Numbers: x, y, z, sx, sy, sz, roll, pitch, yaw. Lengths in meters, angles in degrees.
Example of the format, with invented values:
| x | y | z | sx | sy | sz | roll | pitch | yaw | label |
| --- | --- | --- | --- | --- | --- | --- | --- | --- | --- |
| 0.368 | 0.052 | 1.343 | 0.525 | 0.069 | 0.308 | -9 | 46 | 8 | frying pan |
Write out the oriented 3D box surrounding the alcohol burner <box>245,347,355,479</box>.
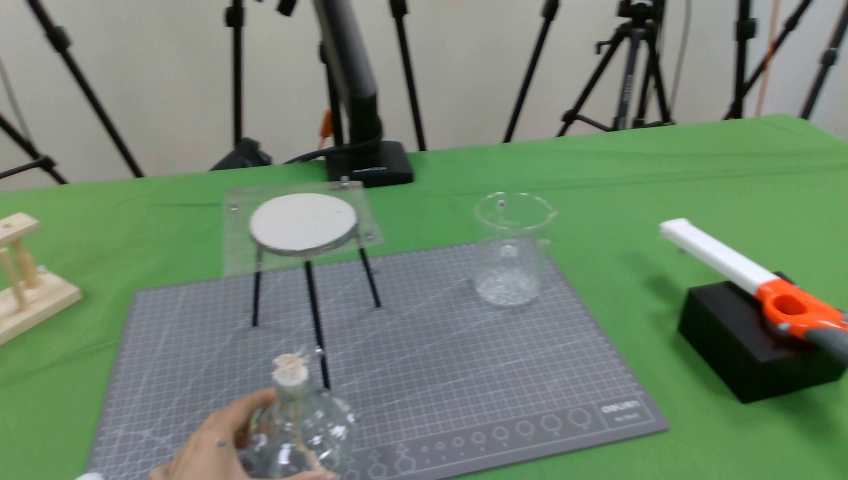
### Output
| x | y | z | sx | sy | sz | roll | pitch | yaw | label |
| --- | --- | --- | --- | --- | --- | --- | --- | --- | --- |
| -0.088 | 0.121 | 0.428 | 0.078 | 0.120 | 0.077 | 1 | 33 | 0 | alcohol burner |

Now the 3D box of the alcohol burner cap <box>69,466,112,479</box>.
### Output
| x | y | z | sx | sy | sz | roll | pitch | yaw | label |
| --- | --- | --- | --- | --- | --- | --- | --- | --- | --- |
| -0.225 | 0.175 | 0.413 | 0.034 | 0.048 | 0.033 | 1 | 34 | 0 | alcohol burner cap |

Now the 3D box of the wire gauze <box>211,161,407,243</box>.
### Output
| x | y | z | sx | sy | sz | roll | pitch | yaw | label |
| --- | --- | --- | --- | --- | --- | --- | --- | --- | --- |
| -0.095 | -0.032 | 0.487 | 0.125 | 0.011 | 0.120 | -14 | 32 | -32 | wire gauze |

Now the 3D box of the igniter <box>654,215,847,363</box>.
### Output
| x | y | z | sx | sy | sz | roll | pitch | yaw | label |
| --- | --- | --- | --- | --- | --- | --- | --- | --- | --- |
| 0.307 | 0.045 | 0.535 | 0.057 | 0.025 | 0.273 | -13 | 32 | -18 | igniter |

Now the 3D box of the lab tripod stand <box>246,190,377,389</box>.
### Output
| x | y | z | sx | sy | sz | roll | pitch | yaw | label |
| --- | --- | --- | --- | --- | --- | --- | --- | --- | --- |
| -0.099 | 0.036 | 0.536 | 0.148 | 0.132 | 0.147 | 1 | 35 | -1 | lab tripod stand |

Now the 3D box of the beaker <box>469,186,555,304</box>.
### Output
| x | y | z | sx | sy | sz | roll | pitch | yaw | label |
| --- | --- | --- | --- | --- | --- | --- | --- | --- | --- |
| 0.085 | 0.007 | 0.608 | 0.084 | 0.101 | 0.073 | -3 | 34 | -5 | beaker |

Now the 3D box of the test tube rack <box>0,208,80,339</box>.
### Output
| x | y | z | sx | sy | sz | roll | pitch | yaw | label |
| --- | --- | --- | --- | --- | --- | --- | --- | --- | --- |
| -0.451 | 0.068 | 0.538 | 0.066 | 0.086 | 0.242 | 19 | 39 | 27 | test tube rack |
